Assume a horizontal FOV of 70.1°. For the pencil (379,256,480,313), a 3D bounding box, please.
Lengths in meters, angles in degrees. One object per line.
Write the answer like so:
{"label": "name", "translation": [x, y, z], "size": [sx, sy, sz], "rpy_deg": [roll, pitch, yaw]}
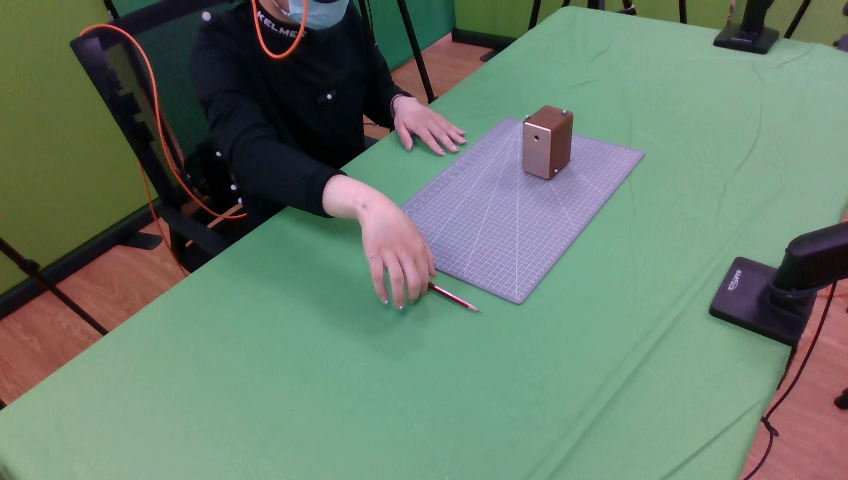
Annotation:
{"label": "pencil", "translation": [0.005, 0.066, 0.900], "size": [0.192, 0.012, 0.012], "rpy_deg": [26, 50, 31]}

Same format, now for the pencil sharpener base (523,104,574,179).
{"label": "pencil sharpener base", "translation": [0.220, -0.175, 1.071], "size": [0.061, 0.107, 0.077], "rpy_deg": [25, 50, 33]}

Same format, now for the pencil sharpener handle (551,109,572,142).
{"label": "pencil sharpener handle", "translation": [0.253, -0.211, 1.090], "size": [0.035, 0.068, 0.031], "rpy_deg": [22, 48, 36]}
